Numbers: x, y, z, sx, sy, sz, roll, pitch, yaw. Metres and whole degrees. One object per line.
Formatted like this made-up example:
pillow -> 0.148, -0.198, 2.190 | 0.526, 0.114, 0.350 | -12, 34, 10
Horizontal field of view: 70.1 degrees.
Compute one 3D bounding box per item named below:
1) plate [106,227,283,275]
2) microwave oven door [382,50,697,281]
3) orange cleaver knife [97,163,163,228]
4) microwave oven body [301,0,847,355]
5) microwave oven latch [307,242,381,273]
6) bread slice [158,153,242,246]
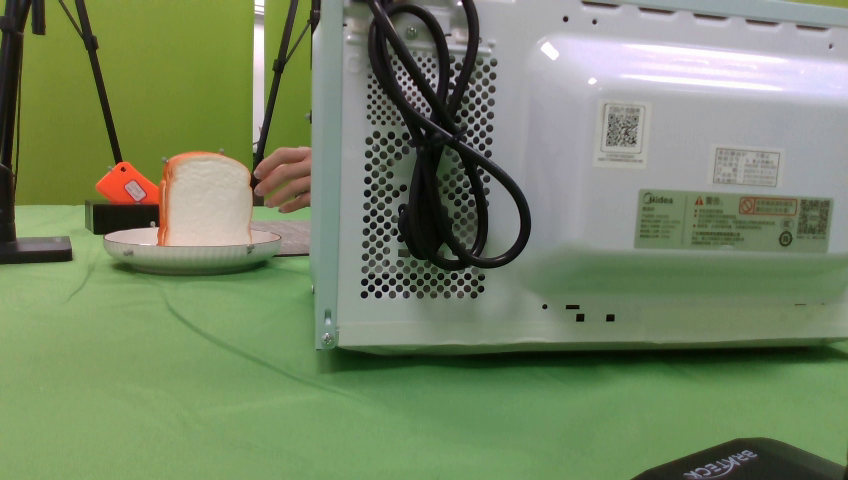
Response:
plate -> -0.288, 0.013, 0.772 | 0.208, 0.039, 0.207 | 2, 7, 0
microwave oven door -> 0.135, -0.077, 0.685 | 0.357, 0.243, 0.039 | 1, 8, -12
orange cleaver knife -> -0.472, -0.062, 1.087 | 0.212, 0.077, 0.012 | 33, -14, -36
microwave oven body -> 0.120, -0.053, 0.535 | 0.443, 0.260, 0.325 | 2, 7, -11
microwave oven latch -> -0.086, 0.019, 0.656 | 0.079, 0.029, 0.030 | 2, 7, -10
bread slice -> -0.287, -0.045, 0.788 | 0.107, 0.134, 0.018 | 2, 8, -35
